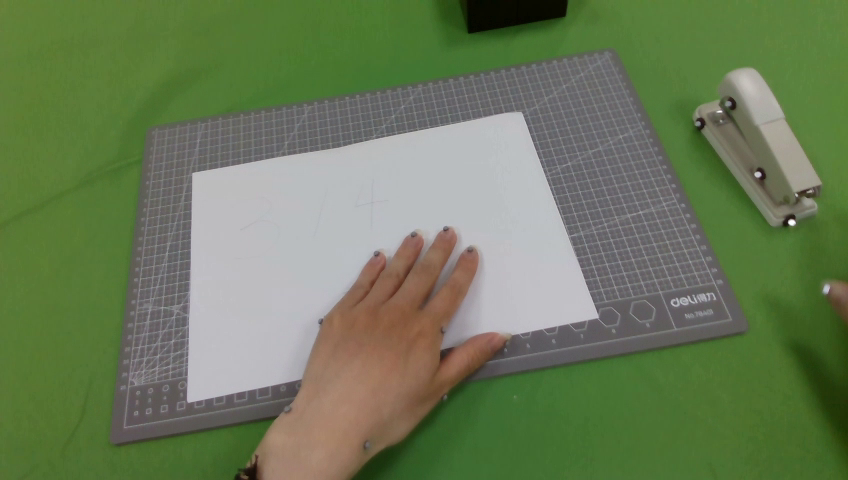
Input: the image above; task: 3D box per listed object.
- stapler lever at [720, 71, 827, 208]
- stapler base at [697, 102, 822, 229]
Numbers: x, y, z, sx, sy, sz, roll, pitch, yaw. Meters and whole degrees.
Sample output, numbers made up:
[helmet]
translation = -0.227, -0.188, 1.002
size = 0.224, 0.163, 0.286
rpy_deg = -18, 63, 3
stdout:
[stapler lever]
translation = 0.270, -0.082, 0.469
size = 0.027, 0.040, 0.117
rpy_deg = -17, 59, -2
[stapler base]
translation = 0.271, -0.070, 0.491
size = 0.041, 0.024, 0.129
rpy_deg = -17, 59, -2
